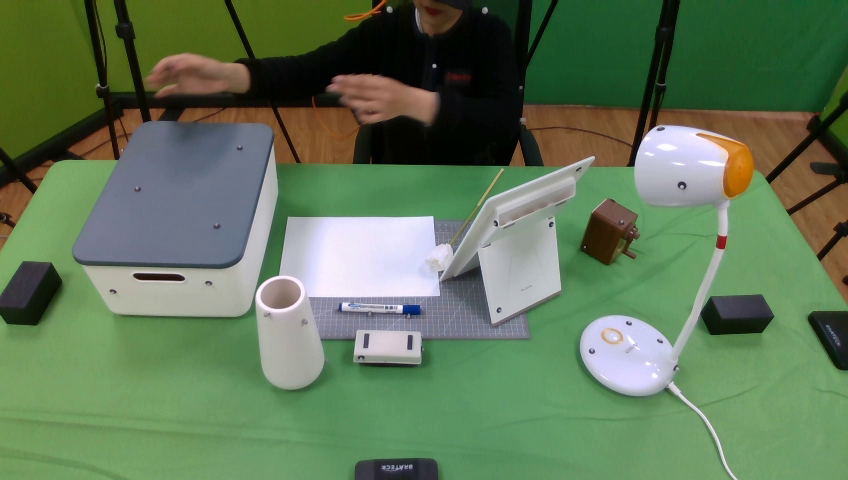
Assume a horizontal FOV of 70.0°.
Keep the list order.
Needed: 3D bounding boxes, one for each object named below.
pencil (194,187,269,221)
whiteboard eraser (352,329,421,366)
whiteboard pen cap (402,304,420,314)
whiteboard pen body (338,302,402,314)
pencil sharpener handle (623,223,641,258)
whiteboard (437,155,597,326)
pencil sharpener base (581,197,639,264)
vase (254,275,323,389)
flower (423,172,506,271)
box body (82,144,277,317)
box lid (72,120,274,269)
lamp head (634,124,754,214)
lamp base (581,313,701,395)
[{"bbox_3d":[-0.397,-0.077,1.242,0.193,0.012,0.012,22,49,17],"label":"pencil"},{"bbox_3d":[-0.061,0.179,1.005,0.113,0.042,0.055,3,48,-3],"label":"whiteboard eraser"},{"bbox_3d":[-0.024,0.123,1.076,0.033,0.018,0.018,1,46,1],"label":"whiteboard pen cap"},{"bbox_3d":[-0.083,0.121,1.074,0.141,0.017,0.017,3,46,-2],"label":"whiteboard pen body"},{"bbox_3d":[0.399,0.002,1.146,0.030,0.068,0.036,35,45,26],"label":"pencil sharpener handle"},{"bbox_3d":[0.180,0.023,1.029,0.217,0.306,0.143,-21,71,-23],"label":"whiteboard"},{"bbox_3d":[0.362,-0.016,1.178,0.076,0.107,0.061,35,53,26],"label":"pencil sharpener base"},{"bbox_3d":[-0.210,0.143,0.921,0.098,0.201,0.097,1,46,-1],"label":"vase"},{"bbox_3d":[0.099,-0.053,1.259,0.044,0.038,0.361,20,43,21],"label":"flower"},{"bbox_3d":[-0.422,-0.041,1.108,0.254,0.161,0.361,2,46,-3],"label":"box body"},{"bbox_3d":[-0.417,-0.094,1.056,0.263,0.015,0.369,1,47,-3],"label":"box lid"},{"bbox_3d":[0.351,-0.089,0.775,0.112,0.113,0.122,-30,30,-28],"label":"lamp head"},{"bbox_3d":[0.361,0.144,0.972,0.178,0.181,0.160,34,53,23],"label":"lamp base"}]
